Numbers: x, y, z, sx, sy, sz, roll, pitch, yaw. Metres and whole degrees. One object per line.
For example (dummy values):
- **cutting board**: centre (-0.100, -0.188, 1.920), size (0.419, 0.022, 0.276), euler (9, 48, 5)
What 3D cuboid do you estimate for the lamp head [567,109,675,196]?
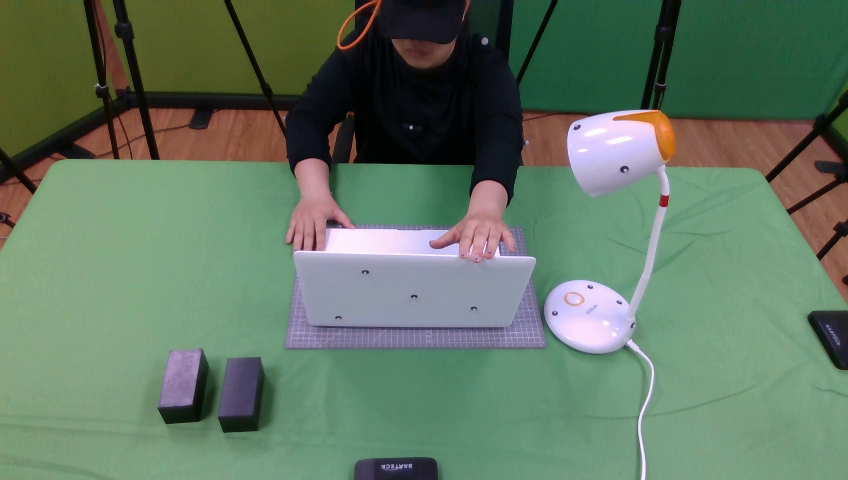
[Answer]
- **lamp head**: centre (0.272, -0.123, 0.818), size (0.122, 0.113, 0.112), euler (-9, 35, 37)

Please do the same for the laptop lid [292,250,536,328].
- **laptop lid**: centre (-0.018, 0.084, 0.954), size (0.357, 0.243, 0.013), euler (2, 56, -5)

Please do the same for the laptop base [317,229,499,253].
- **laptop base**: centre (-0.028, 0.066, 1.134), size (0.355, 0.023, 0.234), euler (1, 43, -4)

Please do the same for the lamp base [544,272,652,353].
- **lamp base**: centre (0.310, 0.086, 1.029), size (0.178, 0.181, 0.160), euler (32, 52, 21)
